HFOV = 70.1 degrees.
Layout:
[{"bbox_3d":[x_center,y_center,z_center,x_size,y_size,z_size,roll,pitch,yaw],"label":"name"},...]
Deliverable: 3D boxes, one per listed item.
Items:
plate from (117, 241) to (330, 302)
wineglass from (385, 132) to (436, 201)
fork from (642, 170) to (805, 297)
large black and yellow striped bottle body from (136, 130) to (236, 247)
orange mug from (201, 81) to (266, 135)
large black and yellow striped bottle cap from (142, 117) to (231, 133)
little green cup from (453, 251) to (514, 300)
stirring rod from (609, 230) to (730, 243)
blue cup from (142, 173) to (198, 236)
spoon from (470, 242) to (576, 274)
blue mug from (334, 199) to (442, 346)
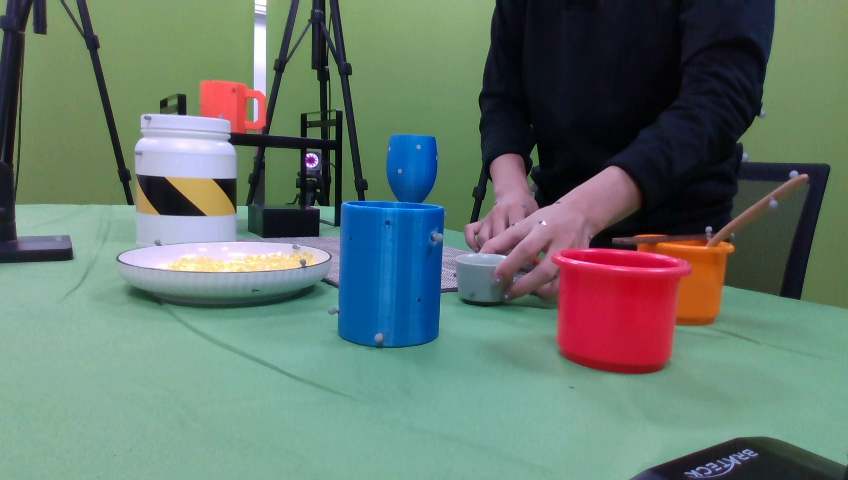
[{"bbox_3d":[-0.203,0.031,0.630,0.209,0.038,0.209,3,7,0],"label":"plate"},{"bbox_3d":[-0.020,-0.061,0.838,0.074,0.172,0.073,2,7,0],"label":"wineglass"},{"bbox_3d":[0.261,0.004,0.545,0.028,0.018,0.207,5,-37,-15],"label":"fork"},{"bbox_3d":[-0.332,-0.076,0.851,0.131,0.184,0.130,3,8,0],"label":"large black and yellow striped bottle body"},{"bbox_3d":[-0.377,-0.259,1.197,0.126,0.101,0.083,-2,7,-6],"label":"orange mug"},{"bbox_3d":[-0.328,-0.159,0.839,0.115,0.019,0.115,1,9,0],"label":"large black and yellow striped bottle cap"},{"bbox_3d":[0.059,0.036,0.612,0.061,0.038,0.061,3,11,0],"label":"little green cup"},{"bbox_3d":[0.241,-0.004,0.582,0.177,0.006,0.014,-4,10,-33],"label":"stirring rod"},{"bbox_3d":[-0.425,-0.060,1.014,0.093,0.100,0.092,3,9,0],"label":"blue cup"},{"bbox_3d":[0.126,0.022,0.801,0.042,0.021,0.193,32,-14,-33],"label":"spoon"},{"bbox_3d":[-0.034,0.020,0.498,0.083,0.106,0.116,0,7,-20],"label":"blue mug"}]
